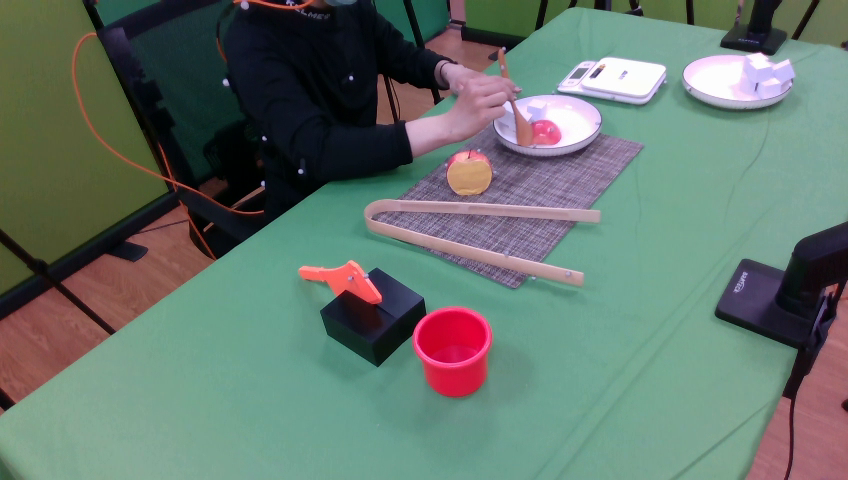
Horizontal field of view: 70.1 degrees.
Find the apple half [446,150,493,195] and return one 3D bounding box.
[{"bbox_3d":[0.080,-0.123,1.065,0.081,0.075,0.053,-7,36,6],"label":"apple half"}]

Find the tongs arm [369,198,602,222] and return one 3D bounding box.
[{"bbox_3d":[0.097,-0.048,1.009,0.386,0.028,0.028,3,46,13],"label":"tongs arm"}]

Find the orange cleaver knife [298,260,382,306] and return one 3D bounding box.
[{"bbox_3d":[-0.125,0.063,0.876,0.012,0.077,0.210,-38,19,-30],"label":"orange cleaver knife"}]

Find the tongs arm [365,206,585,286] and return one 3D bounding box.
[{"bbox_3d":[0.067,0.004,0.951,0.382,0.026,0.051,13,45,23],"label":"tongs arm"}]

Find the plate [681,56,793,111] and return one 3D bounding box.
[{"bbox_3d":[0.636,-0.317,1.239,0.207,0.039,0.206,-4,40,4],"label":"plate"}]

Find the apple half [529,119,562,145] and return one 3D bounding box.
[{"bbox_3d":[0.228,-0.216,1.170,0.081,0.033,0.081,-4,43,4],"label":"apple half"}]

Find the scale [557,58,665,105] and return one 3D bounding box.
[{"bbox_3d":[0.407,-0.348,1.314,0.199,0.032,0.149,19,47,28],"label":"scale"}]

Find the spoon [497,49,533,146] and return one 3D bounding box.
[{"bbox_3d":[0.162,-0.254,1.100,0.042,0.195,0.021,-35,30,-17],"label":"spoon"}]

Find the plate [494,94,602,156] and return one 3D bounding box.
[{"bbox_3d":[0.240,-0.221,1.181,0.209,0.038,0.208,-4,41,4],"label":"plate"}]
